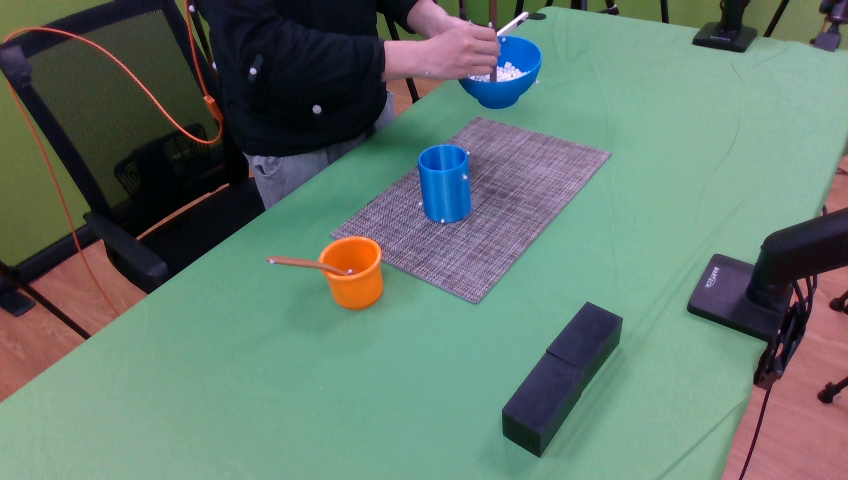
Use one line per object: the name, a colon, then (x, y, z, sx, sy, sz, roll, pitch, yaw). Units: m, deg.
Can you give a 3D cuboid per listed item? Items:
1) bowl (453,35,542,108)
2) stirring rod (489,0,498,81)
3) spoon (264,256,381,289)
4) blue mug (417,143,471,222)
bowl: (0.128, -0.282, 1.045, 0.151, 0.077, 0.150, -4, 46, 5)
stirring rod: (0.113, -0.315, 0.983, 0.014, 0.177, 0.005, -35, 51, -24)
spoon: (-0.136, 0.041, 0.842, 0.021, 0.195, 0.041, -56, 46, 13)
blue mug: (0.031, -0.104, 1.014, 0.082, 0.106, 0.115, -14, 41, -7)
